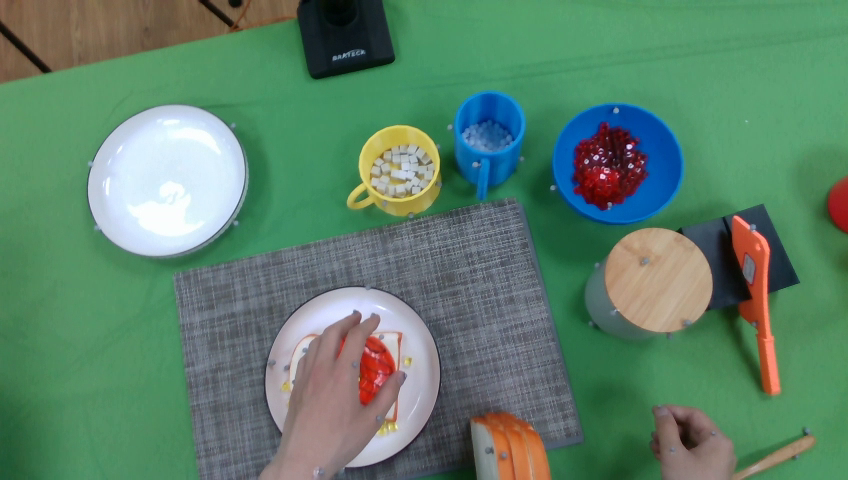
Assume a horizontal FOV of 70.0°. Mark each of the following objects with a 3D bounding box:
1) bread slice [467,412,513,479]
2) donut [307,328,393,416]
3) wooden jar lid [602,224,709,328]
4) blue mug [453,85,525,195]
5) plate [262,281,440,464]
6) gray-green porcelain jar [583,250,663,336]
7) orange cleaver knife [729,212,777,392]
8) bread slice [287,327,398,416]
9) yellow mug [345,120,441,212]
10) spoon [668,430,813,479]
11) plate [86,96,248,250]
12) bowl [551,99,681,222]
[{"bbox_3d":[0.070,0.238,0.646,0.018,0.135,0.106,-5,75,-7],"label":"bread slice"},{"bbox_3d":[-0.084,0.149,0.689,0.099,0.048,0.098,0,79,-1],"label":"donut"},{"bbox_3d":[0.236,0.037,0.624,0.108,0.021,0.108,0,79,0],"label":"wooden jar lid"},{"bbox_3d":[0.075,-0.112,0.741,0.082,0.106,0.116,7,77,5],"label":"blue mug"},{"bbox_3d":[-0.084,0.153,0.717,0.209,0.038,0.208,-1,77,3],"label":"plate"},{"bbox_3d":[0.240,0.053,0.685,0.106,0.127,0.105,0,77,2],"label":"gray-green porcelain jar"},{"bbox_3d":[0.376,0.072,0.696,0.012,0.077,0.212,-15,106,0],"label":"orange cleaver knife"},{"bbox_3d":[-0.097,0.155,0.721,0.131,0.019,0.104,1,76,0],"label":"bread slice"},{"bbox_3d":[-0.043,-0.083,0.760,0.131,0.064,0.099,-34,77,-4],"label":"yellow mug"},{"bbox_3d":[0.357,0.259,0.685,0.194,0.022,0.041,-23,58,-3],"label":"spoon"},{"bbox_3d":[-0.328,-0.085,0.787,0.207,0.039,0.206,-1,77,2],"label":"plate"},{"bbox_3d":[0.226,-0.087,0.742,0.151,0.077,0.150,-1,77,3],"label":"bowl"}]
